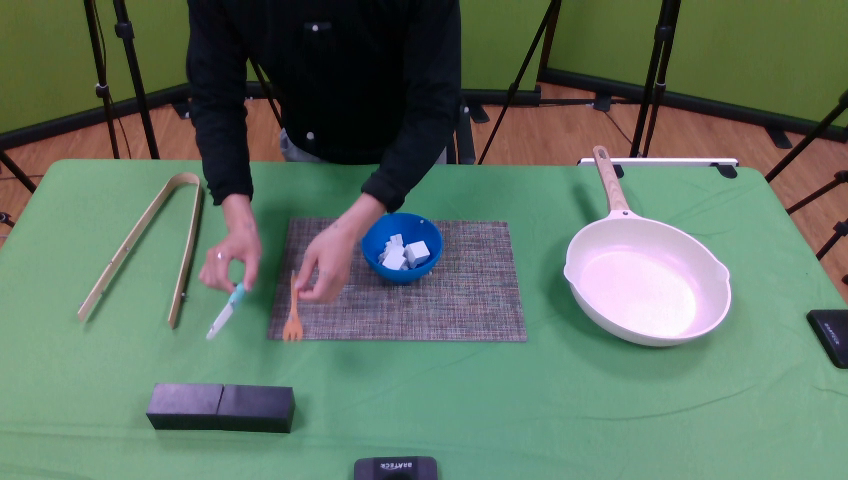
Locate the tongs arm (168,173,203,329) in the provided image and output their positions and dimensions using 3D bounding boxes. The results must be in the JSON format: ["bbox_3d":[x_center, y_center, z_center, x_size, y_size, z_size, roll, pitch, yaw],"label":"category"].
[{"bbox_3d":[-0.454,0.006,1.152,0.028,0.028,0.385,-5,47,-6],"label":"tongs arm"}]

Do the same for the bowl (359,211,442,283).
[{"bbox_3d":[-0.044,0.026,1.124,0.151,0.077,0.150,2,46,-2],"label":"bowl"}]

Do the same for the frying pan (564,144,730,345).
[{"bbox_3d":[0.396,-0.008,1.179,0.307,0.103,0.484,0,55,-5],"label":"frying pan"}]

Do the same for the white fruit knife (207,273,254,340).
[{"bbox_3d":[-0.302,0.100,0.952,0.016,0.027,0.206,-1,22,2],"label":"white fruit knife"}]

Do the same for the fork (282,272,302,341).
[{"bbox_3d":[-0.202,0.098,0.932,0.028,0.019,0.206,-6,29,-8],"label":"fork"}]

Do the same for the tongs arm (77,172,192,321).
[{"bbox_3d":[-0.535,-0.002,1.147,0.051,0.026,0.382,7,45,1],"label":"tongs arm"}]
